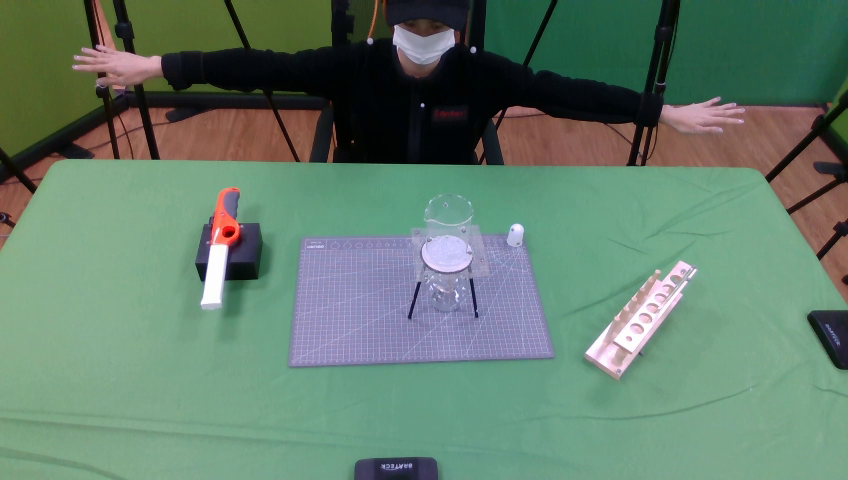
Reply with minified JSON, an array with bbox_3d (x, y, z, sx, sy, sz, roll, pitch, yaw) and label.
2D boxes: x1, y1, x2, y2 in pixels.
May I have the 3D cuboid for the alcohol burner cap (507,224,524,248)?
[{"bbox_3d":[0.184,-0.010,1.206,0.034,0.048,0.033,0,44,0],"label":"alcohol burner cap"}]

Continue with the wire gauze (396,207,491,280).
[{"bbox_3d":[0.032,0.006,1.001,0.125,0.011,0.120,-20,52,-16],"label":"wire gauze"}]

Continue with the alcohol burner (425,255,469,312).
[{"bbox_3d":[0.041,0.072,1.065,0.078,0.120,0.077,1,46,-1],"label":"alcohol burner"}]

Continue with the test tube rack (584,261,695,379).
[{"bbox_3d":[0.380,0.127,1.062,0.066,0.085,0.242,34,53,26],"label":"test tube rack"}]

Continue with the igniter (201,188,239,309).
[{"bbox_3d":[-0.367,0.006,1.095,0.057,0.025,0.274,-2,49,-7],"label":"igniter"}]

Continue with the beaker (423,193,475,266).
[{"bbox_3d":[0.036,-0.013,0.973,0.084,0.101,0.073,-18,48,-20],"label":"beaker"}]

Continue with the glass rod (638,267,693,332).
[{"bbox_3d":[0.394,0.101,0.995,0.008,0.200,0.008,4,53,-5],"label":"glass rod"}]

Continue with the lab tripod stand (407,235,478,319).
[{"bbox_3d":[0.032,0.065,1.057,0.148,0.132,0.147,1,45,-1],"label":"lab tripod stand"}]
